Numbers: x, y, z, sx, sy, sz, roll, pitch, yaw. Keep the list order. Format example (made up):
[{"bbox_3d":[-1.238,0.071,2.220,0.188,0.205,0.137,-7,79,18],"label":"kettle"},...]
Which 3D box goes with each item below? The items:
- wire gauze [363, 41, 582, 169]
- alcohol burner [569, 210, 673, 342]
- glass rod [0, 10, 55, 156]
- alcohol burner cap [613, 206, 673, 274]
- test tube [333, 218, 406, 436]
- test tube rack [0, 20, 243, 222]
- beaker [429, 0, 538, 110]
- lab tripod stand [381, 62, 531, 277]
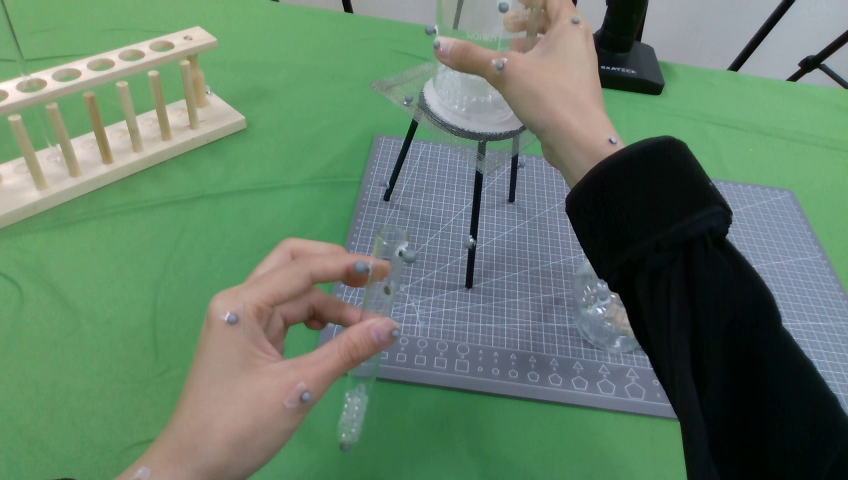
[{"bbox_3d":[0.037,-0.112,0.456,0.124,0.011,0.121,39,53,25],"label":"wire gauze"},{"bbox_3d":[0.151,0.022,0.449,0.078,0.120,0.077,5,44,-5],"label":"alcohol burner"},{"bbox_3d":[-0.332,-0.155,0.484,0.008,0.201,0.008,2,38,-1],"label":"glass rod"},{"bbox_3d":[0.155,-0.002,0.422,0.034,0.048,0.033,3,48,-3],"label":"alcohol burner cap"},{"bbox_3d":[-0.031,0.053,0.315,0.017,0.151,0.017,10,35,-7],"label":"test tube"},{"bbox_3d":[-0.290,-0.114,0.543,0.066,0.086,0.242,37,52,26],"label":"test tube rack"},{"bbox_3d":[0.037,-0.148,0.418,0.084,0.101,0.073,2,46,-2],"label":"beaker"},{"bbox_3d":[0.033,-0.065,0.504,0.148,0.132,0.147,5,46,-5],"label":"lab tripod stand"}]
